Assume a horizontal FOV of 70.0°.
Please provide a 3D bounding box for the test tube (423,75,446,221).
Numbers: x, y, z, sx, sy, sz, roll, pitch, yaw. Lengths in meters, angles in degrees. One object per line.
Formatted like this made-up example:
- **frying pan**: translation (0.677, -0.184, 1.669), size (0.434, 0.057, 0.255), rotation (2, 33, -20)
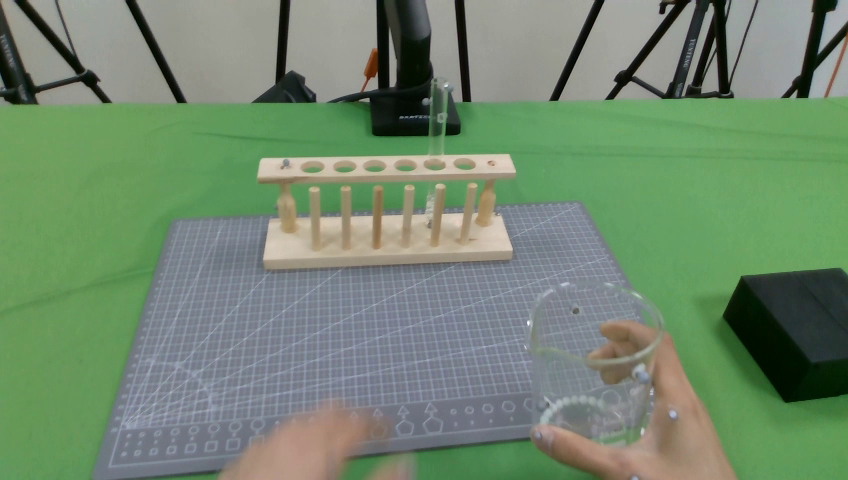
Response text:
- **test tube**: translation (0.009, -0.083, 0.582), size (0.017, 0.151, 0.017), rotation (2, 35, -1)

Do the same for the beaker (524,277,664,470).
- **beaker**: translation (0.100, 0.085, 0.373), size (0.084, 0.101, 0.073), rotation (-16, 33, -16)

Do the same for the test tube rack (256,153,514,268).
- **test tube rack**: translation (-0.035, -0.030, 0.593), size (0.243, 0.086, 0.066), rotation (-2, 39, -7)
